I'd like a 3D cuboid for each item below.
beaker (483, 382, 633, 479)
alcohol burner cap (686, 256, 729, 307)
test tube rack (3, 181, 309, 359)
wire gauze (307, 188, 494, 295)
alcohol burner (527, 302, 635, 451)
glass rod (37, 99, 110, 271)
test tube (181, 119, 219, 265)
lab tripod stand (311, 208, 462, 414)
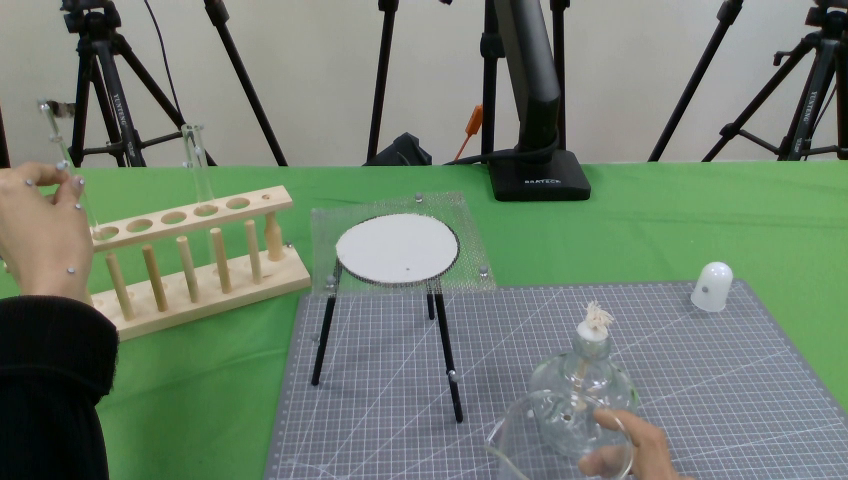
[{"bbox_3d":[0.076,0.148,0.370,0.084,0.101,0.073,-1,35,1],"label":"beaker"},{"bbox_3d":[0.273,0.037,0.580,0.034,0.048,0.033,0,35,0],"label":"alcohol burner cap"},{"bbox_3d":[-0.238,0.022,0.566,0.243,0.086,0.066,-16,38,-22],"label":"test tube rack"},{"bbox_3d":[-0.022,-0.001,0.436,0.125,0.011,0.120,-5,35,-6],"label":"wire gauze"},{"bbox_3d":[0.115,0.094,0.436,0.078,0.120,0.077,0,33,0],"label":"alcohol burner"},{"bbox_3d":[-0.288,-0.026,0.517,0.008,0.201,0.008,0,38,1],"label":"glass rod"},{"bbox_3d":[-0.206,-0.040,0.569,0.017,0.151,0.017,1,32,0],"label":"test tube"},{"bbox_3d":[-0.022,0.053,0.475,0.148,0.132,0.147,0,37,1],"label":"lab tripod stand"}]
